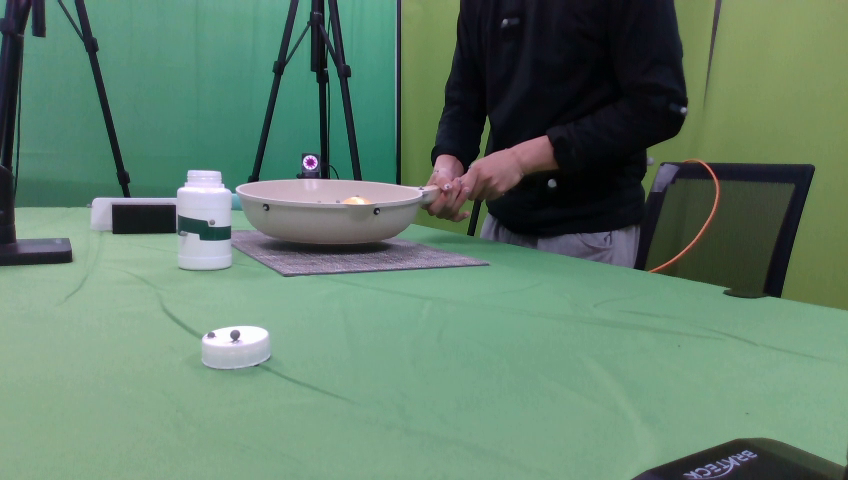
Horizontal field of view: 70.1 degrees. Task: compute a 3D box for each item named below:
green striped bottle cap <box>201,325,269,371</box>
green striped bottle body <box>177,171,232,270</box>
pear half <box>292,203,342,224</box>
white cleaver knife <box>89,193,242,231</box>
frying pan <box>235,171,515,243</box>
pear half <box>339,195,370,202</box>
[{"bbox_3d":[-0.129,0.073,0.415,0.044,0.020,0.044,2,8,0],"label":"green striped bottle cap"},{"bbox_3d":[-0.273,-0.026,0.753,0.063,0.119,0.063,2,7,0],"label":"green striped bottle body"},{"bbox_3d":[-0.180,-0.047,1.029,0.088,0.031,0.070,-13,23,-39],"label":"pear half"},{"bbox_3d":[-0.454,-0.052,1.114,0.288,0.066,0.021,-4,14,-27],"label":"white cleaver knife"},{"bbox_3d":[-0.056,-0.073,1.013,0.490,0.103,0.305,-12,17,-22],"label":"frying pan"},{"bbox_3d":[-0.112,-0.046,0.988,0.076,0.056,0.109,5,9,-14],"label":"pear half"}]
